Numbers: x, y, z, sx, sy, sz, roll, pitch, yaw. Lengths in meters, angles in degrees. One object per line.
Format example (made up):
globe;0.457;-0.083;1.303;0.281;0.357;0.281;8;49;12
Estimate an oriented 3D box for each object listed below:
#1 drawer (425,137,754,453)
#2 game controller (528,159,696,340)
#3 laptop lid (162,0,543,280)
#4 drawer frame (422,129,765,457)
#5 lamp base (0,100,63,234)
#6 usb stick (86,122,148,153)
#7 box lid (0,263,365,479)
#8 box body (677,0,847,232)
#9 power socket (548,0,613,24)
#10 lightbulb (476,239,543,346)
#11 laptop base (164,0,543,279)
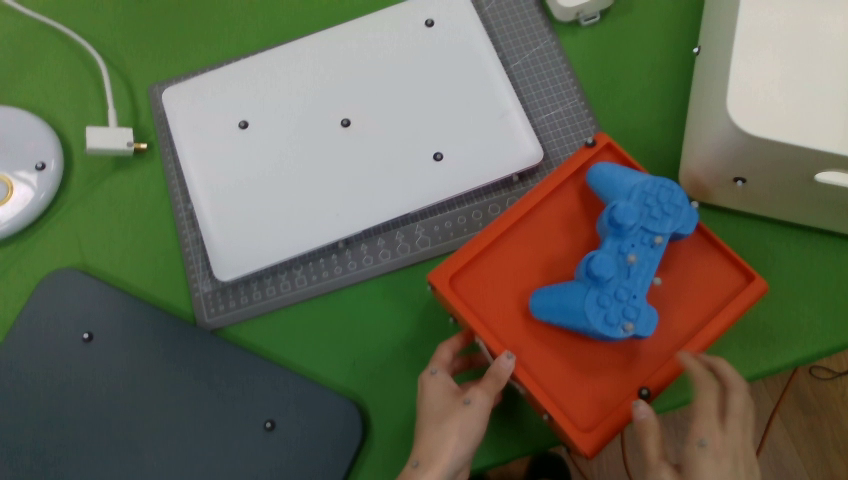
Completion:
drawer;0.142;0.045;0.544;0.211;0.074;0.193;-40;74;-9
game controller;0.159;0.008;0.500;0.097;0.052;0.154;26;78;7
laptop lid;-0.080;-0.124;0.631;0.357;0.013;0.240;-19;75;-2
drawer frame;0.142;0.043;0.543;0.213;0.083;0.200;-40;75;-8
lamp base;-0.483;-0.109;0.581;0.178;0.181;0.160;41;79;18
usb stick;-0.325;-0.108;0.643;0.059;0.021;0.027;2;74;-30
box lid;-0.267;0.198;0.561;0.370;0.015;0.262;23;76;9
box body;0.399;-0.197;0.560;0.253;0.161;0.362;14;74;8
power socket;0.147;-0.347;0.691;0.072;0.033;0.225;-20;72;-3
lightbulb;0.084;0.045;0.554;0.059;0.060;0.107;15;62;9
laptop base;-0.080;-0.123;0.643;0.354;0.023;0.234;-21;76;-3
